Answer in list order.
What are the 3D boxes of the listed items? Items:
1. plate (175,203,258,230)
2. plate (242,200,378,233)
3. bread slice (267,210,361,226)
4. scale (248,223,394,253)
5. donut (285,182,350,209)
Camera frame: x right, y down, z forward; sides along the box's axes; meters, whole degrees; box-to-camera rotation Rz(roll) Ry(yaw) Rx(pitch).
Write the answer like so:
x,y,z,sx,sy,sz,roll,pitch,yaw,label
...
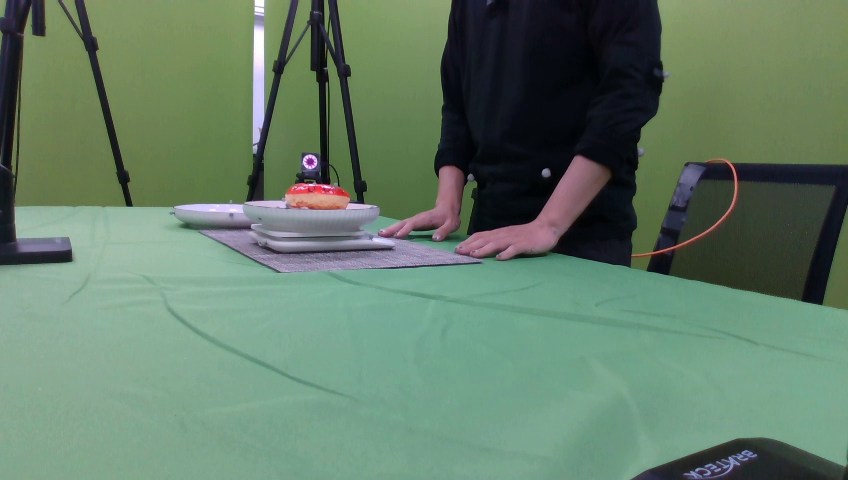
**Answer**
x,y,z,sx,sy,sz,roll,pitch,yaw,label
-0.381,-0.047,1.199,0.208,0.039,0.207,3,7,0,plate
-0.175,-0.038,0.939,0.209,0.038,0.209,3,7,0,plate
-0.174,-0.035,0.934,0.132,0.019,0.104,-1,6,-28,bread slice
-0.162,-0.006,0.954,0.202,0.031,0.148,-2,8,-32,scale
-0.165,-0.065,0.938,0.099,0.048,0.099,3,3,0,donut
